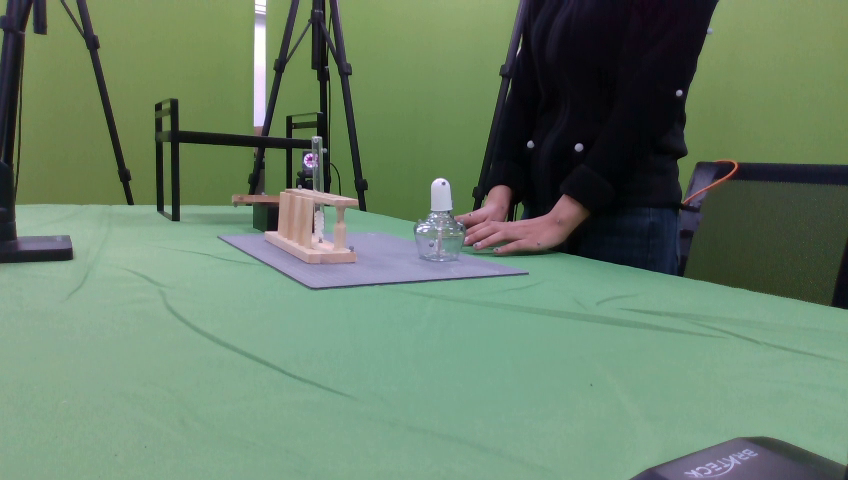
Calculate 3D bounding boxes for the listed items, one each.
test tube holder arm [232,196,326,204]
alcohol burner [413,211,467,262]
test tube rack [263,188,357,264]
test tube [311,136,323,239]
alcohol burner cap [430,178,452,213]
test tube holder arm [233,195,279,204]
[{"bbox_3d":[-0.271,-0.076,1.145,0.179,0.015,0.013,-1,1,-32],"label":"test tube holder arm"},{"bbox_3d":[0.022,-0.029,0.864,0.078,0.119,0.078,1,7,0],"label":"alcohol burner"},{"bbox_3d":[-0.175,-0.028,0.890,0.067,0.085,0.241,0,8,-28],"label":"test tube rack"},{"bbox_3d":[-0.155,-0.076,0.879,0.017,0.150,0.017,0,7,0],"label":"test tube"},{"bbox_3d":[0.024,-0.064,0.859,0.034,0.048,0.034,-1,13,0],"label":"alcohol burner cap"},{"bbox_3d":[-0.307,-0.075,1.117,0.088,0.015,0.010,-1,1,-31],"label":"test tube holder arm"}]
